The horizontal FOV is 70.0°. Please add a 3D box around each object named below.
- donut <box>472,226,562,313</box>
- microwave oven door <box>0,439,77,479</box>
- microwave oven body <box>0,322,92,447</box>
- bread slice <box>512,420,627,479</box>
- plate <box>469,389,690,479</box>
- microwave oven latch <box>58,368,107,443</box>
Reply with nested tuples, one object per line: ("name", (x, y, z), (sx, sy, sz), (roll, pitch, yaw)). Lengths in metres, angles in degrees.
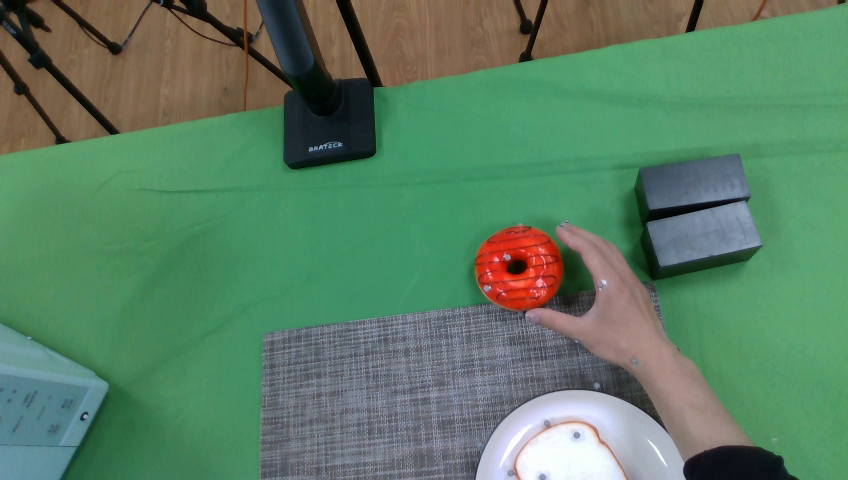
("donut", (0.102, 0.033, 0.663), (0.099, 0.048, 0.098), (-6, 67, 14))
("microwave oven door", (-0.508, 0.352, 0.556), (0.039, 0.246, 0.354), (19, 76, 18))
("microwave oven body", (-0.621, 0.270, 0.613), (0.324, 0.262, 0.440), (20, 77, 17))
("bread slice", (0.144, 0.244, 0.583), (0.105, 0.019, 0.130), (-28, 68, 1))
("plate", (0.147, 0.250, 0.579), (0.207, 0.039, 0.206), (-4, 71, 10))
("microwave oven latch", (-0.399, 0.191, 0.698), (0.030, 0.030, 0.079), (22, 78, 18))
